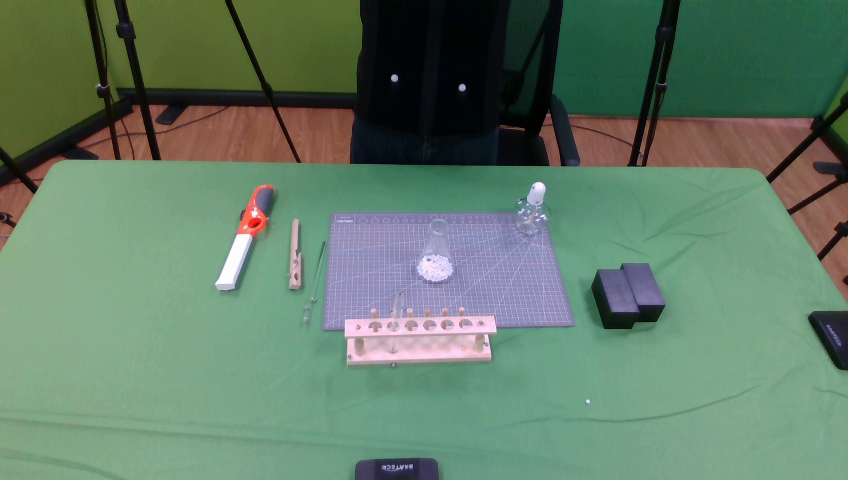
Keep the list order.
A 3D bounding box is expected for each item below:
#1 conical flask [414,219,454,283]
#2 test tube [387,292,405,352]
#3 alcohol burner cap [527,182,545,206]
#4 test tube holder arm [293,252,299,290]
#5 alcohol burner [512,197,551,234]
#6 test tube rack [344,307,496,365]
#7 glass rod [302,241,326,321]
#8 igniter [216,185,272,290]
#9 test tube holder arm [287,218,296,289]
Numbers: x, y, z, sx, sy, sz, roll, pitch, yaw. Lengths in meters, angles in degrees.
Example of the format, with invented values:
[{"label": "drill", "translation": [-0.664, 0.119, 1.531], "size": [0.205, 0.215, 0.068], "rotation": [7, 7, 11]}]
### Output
[{"label": "conical flask", "translation": [0.022, 0.016, 1.112], "size": [0.075, 0.122, 0.075], "rotation": [2, 46, -2]}, {"label": "test tube", "translation": [-0.045, 0.133, 0.955], "size": [0.017, 0.151, 0.017], "rotation": [5, 47, -5]}, {"label": "alcohol burner cap", "translation": [0.222, -0.093, 1.190], "size": [0.034, 0.048, 0.033], "rotation": [2, 54, -3]}, {"label": "test tube holder arm", "translation": [-0.241, 0.056, 1.131], "size": [0.010, 0.015, 0.087], "rotation": [24, 35, -33]}, {"label": "alcohol burner", "translation": [0.219, -0.069, 1.217], "size": [0.078, 0.119, 0.077], "rotation": [3, 47, -3]}, {"label": "test tube rack", "translation": [-0.009, 0.154, 1.007], "size": [0.242, 0.085, 0.066], "rotation": [-1, 46, -5]}, {"label": "glass rod", "translation": [-0.203, 0.071, 1.124], "size": [0.008, 0.008, 0.198], "rotation": [4, 44, 1]}, {"label": "igniter", "translation": [-0.347, -0.014, 1.182], "size": [0.057, 0.025, 0.275], "rotation": [-1, 45, 8]}, {"label": "test tube holder arm", "translation": [-0.253, 0.022, 1.158], "size": [0.013, 0.015, 0.177], "rotation": [23, 36, -34]}]
